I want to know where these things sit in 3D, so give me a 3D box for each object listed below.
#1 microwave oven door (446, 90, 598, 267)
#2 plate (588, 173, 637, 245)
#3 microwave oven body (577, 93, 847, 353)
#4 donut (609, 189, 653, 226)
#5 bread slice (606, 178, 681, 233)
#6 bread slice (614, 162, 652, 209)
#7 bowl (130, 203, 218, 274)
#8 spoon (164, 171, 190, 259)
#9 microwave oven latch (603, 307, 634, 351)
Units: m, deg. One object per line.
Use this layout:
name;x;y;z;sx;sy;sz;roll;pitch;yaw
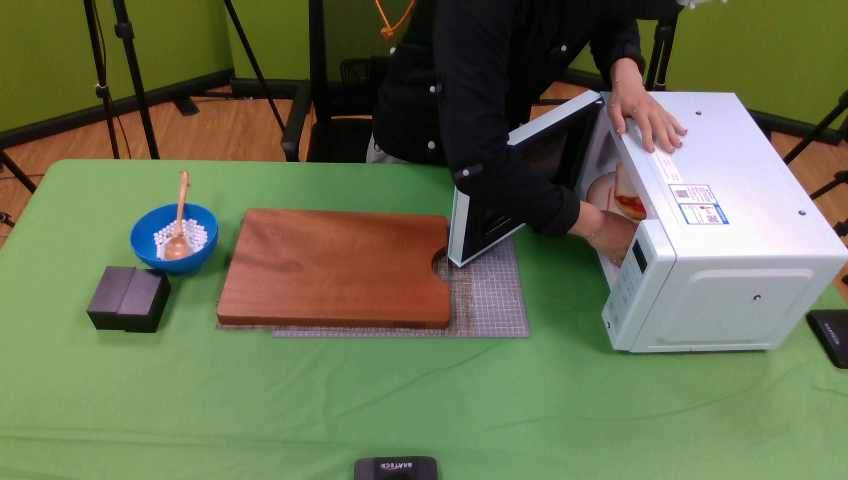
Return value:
microwave oven door;0.190;-0.120;1.157;0.356;0.245;0.039;-31;55;-29
plate;0.421;-0.055;1.177;0.208;0.039;0.206;1;46;0
microwave oven body;0.475;-0.041;1.109;0.326;0.261;0.438;-1;45;-4
donut;0.403;-0.069;1.159;0.099;0.048;0.098;0;52;0
bread slice;0.436;-0.067;1.185;0.131;0.019;0.104;27;52;18
bread slice;0.419;-0.096;1.133;0.134;0.018;0.106;14;43;-3
bowl;-0.451;0.010;1.116;0.151;0.077;0.150;3;45;-3
spoon;-0.452;-0.046;1.129;0.041;0.022;0.193;-1;69;-3
microwave oven latch;0.332;0.153;1.044;0.030;0.029;0.078;0;45;-3
